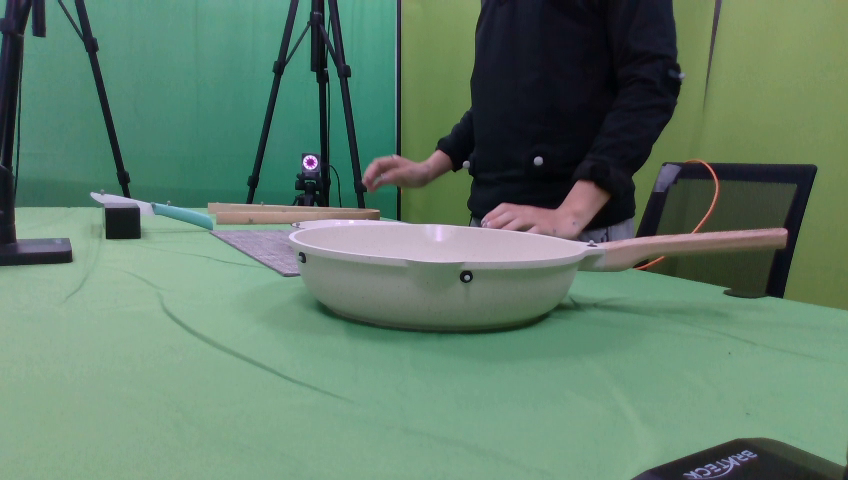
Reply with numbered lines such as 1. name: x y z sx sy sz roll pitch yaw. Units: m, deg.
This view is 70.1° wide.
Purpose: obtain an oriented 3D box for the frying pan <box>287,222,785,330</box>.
1. frying pan: 0.114 0.016 0.607 0.488 0.102 0.307 -6 8 3

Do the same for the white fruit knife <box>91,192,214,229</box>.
1. white fruit knife: -0.478 -0.055 1.078 0.208 0.027 0.016 14 1 -30

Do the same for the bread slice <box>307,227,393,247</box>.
1. bread slice: -0.115 -0.005 0.950 0.134 0.018 0.107 3 6 -7

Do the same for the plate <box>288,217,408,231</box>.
1. plate: -0.109 -0.007 0.956 0.208 0.039 0.207 2 7 0

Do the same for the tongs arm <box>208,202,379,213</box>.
1. tongs arm: -0.296 -0.067 1.406 0.386 0.026 0.050 1 8 -22

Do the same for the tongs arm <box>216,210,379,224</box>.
1. tongs arm: -0.262 -0.053 1.335 0.390 0.028 0.028 -2 6 -34
